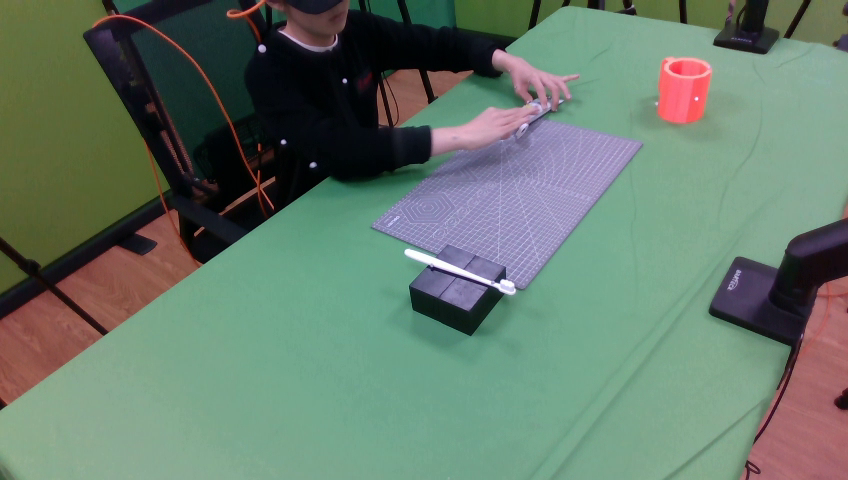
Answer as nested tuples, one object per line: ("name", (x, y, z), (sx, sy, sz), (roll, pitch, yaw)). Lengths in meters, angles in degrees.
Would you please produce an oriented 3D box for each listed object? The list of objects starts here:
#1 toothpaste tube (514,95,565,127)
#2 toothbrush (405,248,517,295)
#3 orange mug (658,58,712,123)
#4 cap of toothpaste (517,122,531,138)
("toothpaste tube", (0.234, -0.270, 1.248), (0.054, 0.034, 0.165), (24, 41, 26))
("toothbrush", (0.048, 0.041, 0.850), (0.180, 0.017, 0.014), (19, 52, 28))
("orange mug", (0.504, -0.304, 1.193), (0.083, 0.101, 0.125), (-13, 45, -5))
("cap of toothpaste", (0.195, -0.218, 1.185), (0.011, 0.037, 0.037), (38, 53, 8))
